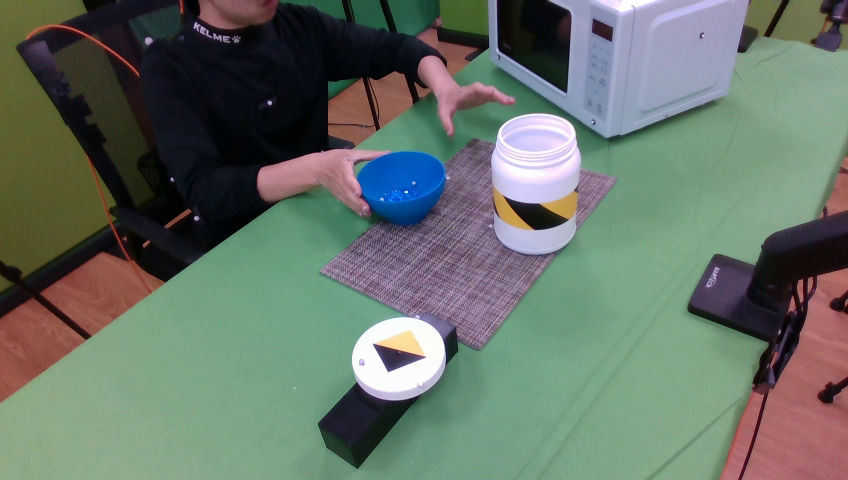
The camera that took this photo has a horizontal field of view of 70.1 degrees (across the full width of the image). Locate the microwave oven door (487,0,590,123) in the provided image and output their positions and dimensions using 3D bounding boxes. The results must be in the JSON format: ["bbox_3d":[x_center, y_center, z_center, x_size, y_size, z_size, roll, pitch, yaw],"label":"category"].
[{"bbox_3d":[0.232,-0.420,1.230,0.039,0.245,0.352,-22,43,-16],"label":"microwave oven door"}]

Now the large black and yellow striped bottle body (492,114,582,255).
[{"bbox_3d":[0.169,-0.083,0.912,0.131,0.185,0.130,-4,41,4],"label":"large black and yellow striped bottle body"}]

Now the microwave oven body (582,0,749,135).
[{"bbox_3d":[0.382,-0.444,1.246,0.327,0.261,0.437,-22,42,-16],"label":"microwave oven body"}]

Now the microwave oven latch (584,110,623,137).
[{"bbox_3d":[0.337,-0.222,1.142,0.030,0.029,0.078,-21,42,-14],"label":"microwave oven latch"}]

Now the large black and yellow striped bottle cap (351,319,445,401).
[{"bbox_3d":[-0.031,0.143,0.735,0.115,0.019,0.114,-3,40,3],"label":"large black and yellow striped bottle cap"}]

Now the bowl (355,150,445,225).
[{"bbox_3d":[-0.035,-0.078,1.017,0.151,0.077,0.150,-4,40,4],"label":"bowl"}]
